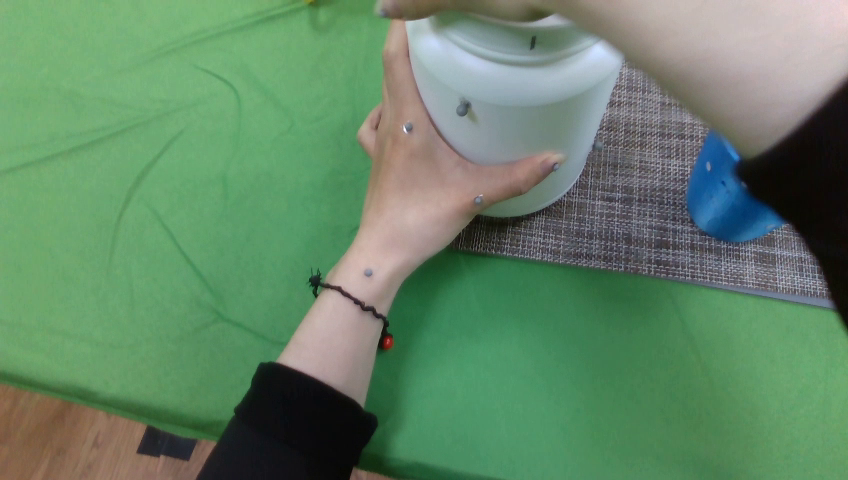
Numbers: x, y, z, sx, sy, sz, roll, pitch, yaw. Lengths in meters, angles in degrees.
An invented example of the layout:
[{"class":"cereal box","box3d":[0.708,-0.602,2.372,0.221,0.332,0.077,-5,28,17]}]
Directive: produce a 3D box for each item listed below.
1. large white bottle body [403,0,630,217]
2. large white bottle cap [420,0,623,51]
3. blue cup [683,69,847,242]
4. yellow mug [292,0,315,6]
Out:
[{"class":"large white bottle body","box3d":[0.054,-0.110,0.389,0.130,0.186,0.129,-1,65,2]},{"class":"large white bottle cap","box3d":[0.050,-0.146,0.312,0.115,0.018,0.114,-1,66,2]},{"class":"blue cup","box3d":[0.217,-0.045,0.400,0.092,0.101,0.092,-2,66,4]},{"class":"yellow mug","box3d":[-0.087,-0.262,0.531,0.099,0.064,0.130,19,69,11]}]
